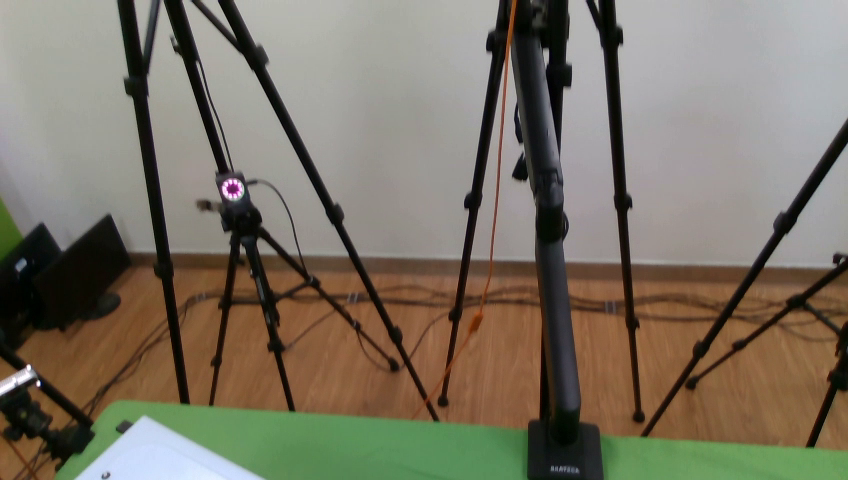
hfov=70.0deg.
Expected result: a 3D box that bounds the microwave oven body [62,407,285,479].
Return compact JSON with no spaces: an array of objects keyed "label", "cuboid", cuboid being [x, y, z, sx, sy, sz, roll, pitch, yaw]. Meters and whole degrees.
[{"label":"microwave oven body","cuboid":[-0.359,0.473,0.694,0.324,0.262,0.440,15,42,25]}]
